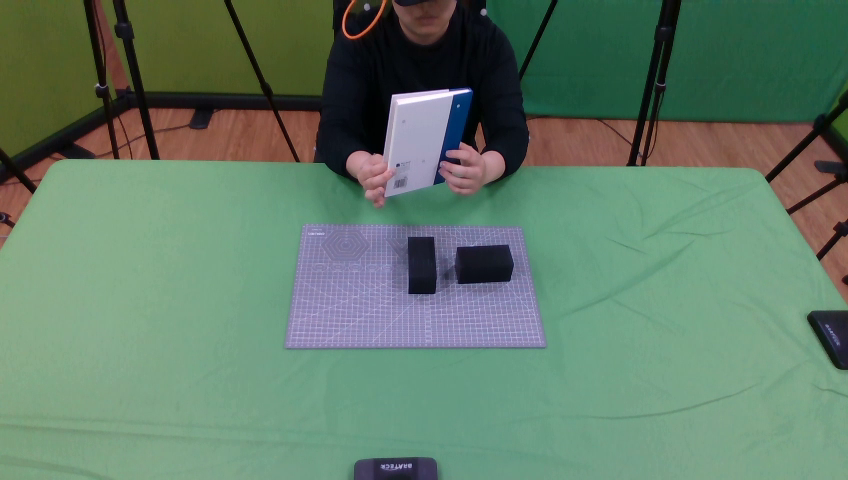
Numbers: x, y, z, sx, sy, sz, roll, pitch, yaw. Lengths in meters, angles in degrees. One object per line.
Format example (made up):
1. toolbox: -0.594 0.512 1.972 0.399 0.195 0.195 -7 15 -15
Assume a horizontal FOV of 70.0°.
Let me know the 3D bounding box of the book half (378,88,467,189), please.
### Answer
1. book half: -0.006 -0.180 1.098 0.143 0.211 0.007 -12 52 -22

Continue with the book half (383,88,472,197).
1. book half: 0.001 -0.171 1.093 0.149 0.211 0.016 -17 54 -25
